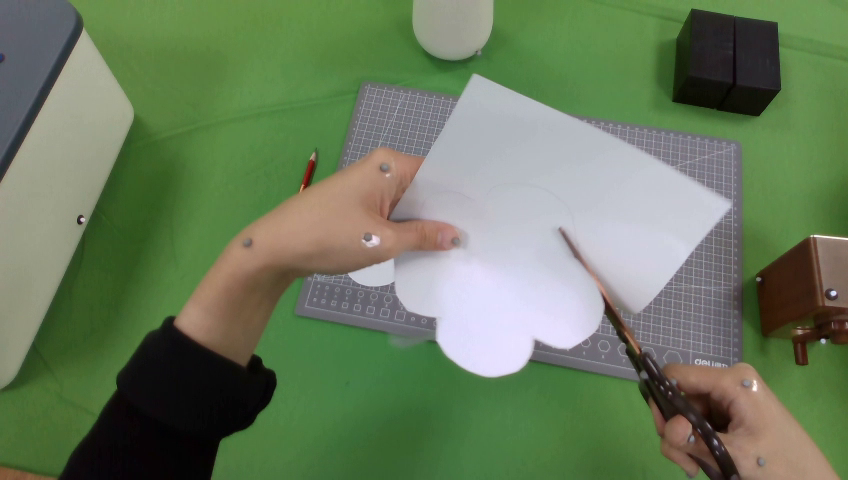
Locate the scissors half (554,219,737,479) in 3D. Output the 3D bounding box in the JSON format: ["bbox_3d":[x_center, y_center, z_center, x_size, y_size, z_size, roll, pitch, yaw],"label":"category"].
[{"bbox_3d":[0.123,0.061,0.343,0.013,0.040,0.174,-32,82,-6],"label":"scissors half"}]

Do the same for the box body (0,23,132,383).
[{"bbox_3d":[-0.483,-0.057,0.587,0.254,0.161,0.361,10,68,4],"label":"box body"}]

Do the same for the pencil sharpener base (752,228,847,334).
[{"bbox_3d":[0.369,0.045,0.578,0.061,0.108,0.076,6,68,3],"label":"pencil sharpener base"}]

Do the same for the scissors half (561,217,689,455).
[{"bbox_3d":[0.122,0.060,0.365,0.013,0.040,0.176,-31,108,-1],"label":"scissors half"}]

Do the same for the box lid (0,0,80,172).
[{"bbox_3d":[-0.483,-0.089,0.518,0.263,0.015,0.369,10,67,4],"label":"box lid"}]

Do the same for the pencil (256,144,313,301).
[{"bbox_3d":[-0.148,-0.024,0.659,0.012,0.012,0.193,11,66,5],"label":"pencil"}]

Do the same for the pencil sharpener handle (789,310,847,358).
[{"bbox_3d":[0.360,0.087,0.547,0.036,0.068,0.030,11,67,-10],"label":"pencil sharpener handle"}]

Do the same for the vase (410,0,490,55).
[{"bbox_3d":[0.030,-0.301,0.670,0.098,0.201,0.097,0,66,1],"label":"vase"}]

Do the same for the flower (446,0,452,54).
[{"bbox_3d":[0.025,-0.347,0.599,0.044,0.365,0.038,3,49,5],"label":"flower"}]
